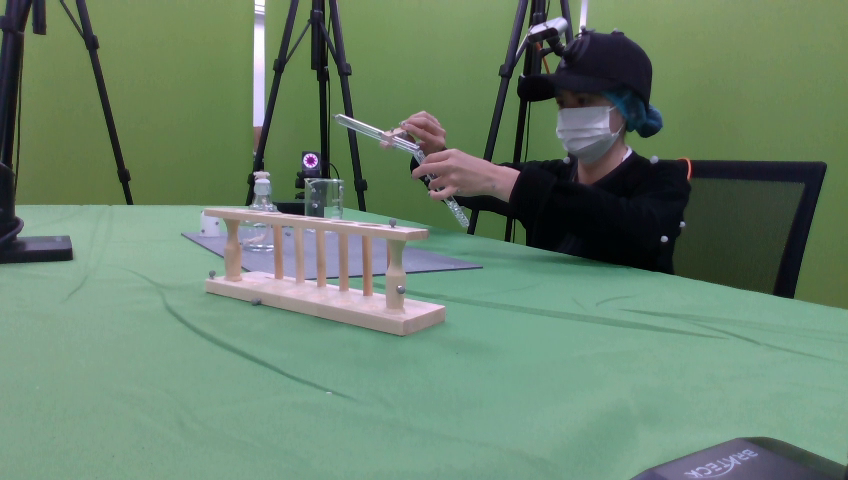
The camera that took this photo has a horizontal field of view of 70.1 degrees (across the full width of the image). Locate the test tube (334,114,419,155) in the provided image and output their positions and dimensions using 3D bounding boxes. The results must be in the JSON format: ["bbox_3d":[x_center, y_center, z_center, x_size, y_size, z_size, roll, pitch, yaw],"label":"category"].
[{"bbox_3d":[-0.078,-0.174,0.992,0.150,0.017,0.017,23,10,6],"label":"test tube"}]

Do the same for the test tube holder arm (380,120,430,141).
[{"bbox_3d":[-0.029,-0.191,1.047,0.015,0.013,0.179,28,28,14],"label":"test tube holder arm"}]

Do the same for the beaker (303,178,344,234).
[{"bbox_3d":[-0.189,-0.063,1.119,0.073,0.100,0.084,6,9,28],"label":"beaker"}]

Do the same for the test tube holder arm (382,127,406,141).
[{"bbox_3d":[-0.048,-0.176,1.008,0.015,0.010,0.088,30,12,13],"label":"test tube holder arm"}]

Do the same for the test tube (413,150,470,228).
[{"bbox_3d":[0.029,-0.083,0.985,0.017,0.150,0.017,-34,0,0],"label":"test tube"}]

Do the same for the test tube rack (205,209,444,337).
[{"bbox_3d":[-0.100,0.021,0.565,0.241,0.085,0.067,7,8,32],"label":"test tube rack"}]

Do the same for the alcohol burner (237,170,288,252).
[{"bbox_3d":[-0.236,-0.042,0.882,0.078,0.119,0.078,2,9,0],"label":"alcohol burner"}]

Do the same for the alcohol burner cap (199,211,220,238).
[{"bbox_3d":[-0.356,-0.027,1.002,0.034,0.048,0.034,2,7,0],"label":"alcohol burner cap"}]
